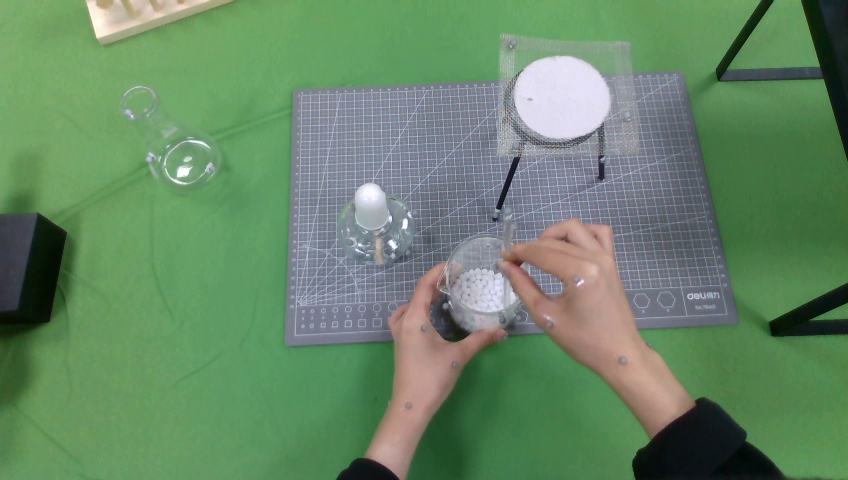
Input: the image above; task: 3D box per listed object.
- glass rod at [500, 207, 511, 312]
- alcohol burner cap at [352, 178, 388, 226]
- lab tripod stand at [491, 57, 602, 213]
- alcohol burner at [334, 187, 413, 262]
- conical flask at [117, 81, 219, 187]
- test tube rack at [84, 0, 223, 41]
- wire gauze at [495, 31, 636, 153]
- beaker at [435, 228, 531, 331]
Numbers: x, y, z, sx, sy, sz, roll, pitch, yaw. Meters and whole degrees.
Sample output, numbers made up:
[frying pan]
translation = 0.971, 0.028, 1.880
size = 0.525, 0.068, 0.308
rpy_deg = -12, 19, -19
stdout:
[glass rod]
translation = 0.067, 0.024, 0.503
size = 0.008, 0.201, 0.008
rpy_deg = -3, 63, 6
[alcohol burner cap]
translation = -0.051, -0.037, 0.549
size = 0.034, 0.048, 0.033
rpy_deg = 1, 63, -2
[lab tripod stand]
translation = 0.119, -0.105, 0.599
size = 0.148, 0.132, 0.147
rpy_deg = 0, 68, 0
[alcohol burner]
translation = -0.049, -0.023, 0.583
size = 0.078, 0.120, 0.077
rpy_deg = 0, 68, -1
[conical flask]
translation = -0.264, -0.111, 0.616
size = 0.075, 0.122, 0.075
rpy_deg = 0, 69, 1
[test tube rack]
translation = -0.292, -0.326, 0.713
size = 0.242, 0.086, 0.066
rpy_deg = -22, 71, -7
[wire gauze]
translation = 0.125, -0.133, 0.537
size = 0.121, 0.011, 0.124
rpy_deg = 3, 70, 0
[beaker]
translation = 0.052, 0.043, 0.565
size = 0.084, 0.101, 0.073
rpy_deg = -12, 69, -3
